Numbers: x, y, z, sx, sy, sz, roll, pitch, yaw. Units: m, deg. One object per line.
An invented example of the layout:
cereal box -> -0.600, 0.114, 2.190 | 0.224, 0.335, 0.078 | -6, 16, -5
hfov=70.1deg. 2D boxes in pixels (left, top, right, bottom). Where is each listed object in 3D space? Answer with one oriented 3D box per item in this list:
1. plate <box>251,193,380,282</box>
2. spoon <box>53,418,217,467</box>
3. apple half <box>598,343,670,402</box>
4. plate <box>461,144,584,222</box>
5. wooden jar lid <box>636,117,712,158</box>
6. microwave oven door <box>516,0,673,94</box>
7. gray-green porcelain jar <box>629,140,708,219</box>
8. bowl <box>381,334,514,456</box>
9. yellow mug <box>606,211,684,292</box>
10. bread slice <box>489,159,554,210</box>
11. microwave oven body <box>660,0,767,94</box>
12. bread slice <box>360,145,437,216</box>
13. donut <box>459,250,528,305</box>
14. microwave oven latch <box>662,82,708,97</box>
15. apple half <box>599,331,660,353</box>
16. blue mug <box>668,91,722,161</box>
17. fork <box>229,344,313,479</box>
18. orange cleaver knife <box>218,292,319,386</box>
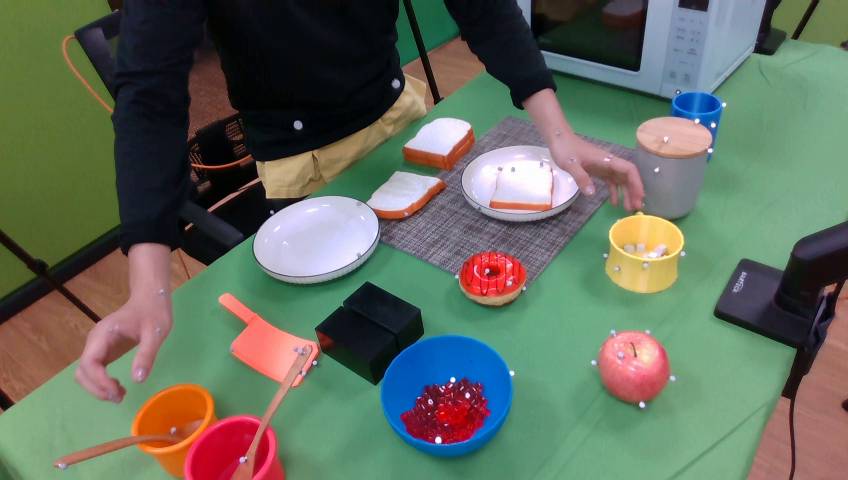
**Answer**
plate -> -0.174, -0.001, 0.985 | 0.209, 0.038, 0.208 | -3, 40, 3
spoon -> -0.308, 0.219, 0.663 | 0.041, 0.195, 0.021 | 23, 93, 29
apple half -> 0.247, 0.161, 0.710 | 0.081, 0.075, 0.053 | 2, 47, 5
plate -> 0.167, -0.095, 1.040 | 0.207, 0.039, 0.206 | -4, 40, 4
wooden jar lid -> 0.377, -0.151, 0.917 | 0.108, 0.021, 0.108 | -2, 41, 2
microwave oven door -> 0.344, -0.458, 1.256 | 0.353, 0.245, 0.039 | 26, 52, 33
gray-green porcelain jar -> 0.383, -0.105, 0.958 | 0.106, 0.127, 0.105 | -4, 41, 4
bowl -> 0.029, 0.192, 0.701 | 0.151, 0.077, 0.150 | -4, 40, 4
yellow mug -> 0.318, 0.008, 0.883 | 0.100, 0.064, 0.130 | 0, 40, 9
bread slice -> 0.172, -0.100, 1.047 | 0.104, 0.019, 0.131 | 4, 42, 12
microwave oven body -> 0.474, -0.517, 1.313 | 0.438, 0.261, 0.327 | 26, 51, 34
bread slice -> -0.053, -0.103, 1.046 | 0.106, 0.018, 0.134 | 19, 67, 22
donut -> 0.100, 0.053, 0.872 | 0.099, 0.048, 0.098 | -5, 40, 4
microwave oven latch -> 0.518, -0.298, 1.203 | 0.078, 0.029, 0.030 | 28, 53, 35
apple half -> 0.249, 0.134, 0.738 | 0.081, 0.081, 0.032 | -1, 46, 7
blue mug -> 0.474, -0.207, 1.079 | 0.082, 0.106, 0.116 | 4, 42, 13
fork -> -0.173, 0.205, 0.662 | 0.028, 0.019, 0.207 | 29, 94, 36
orange cleaver knife -> -0.234, 0.136, 0.850 | 0.209, 0.012, 0.077 | 25, 56, 30
